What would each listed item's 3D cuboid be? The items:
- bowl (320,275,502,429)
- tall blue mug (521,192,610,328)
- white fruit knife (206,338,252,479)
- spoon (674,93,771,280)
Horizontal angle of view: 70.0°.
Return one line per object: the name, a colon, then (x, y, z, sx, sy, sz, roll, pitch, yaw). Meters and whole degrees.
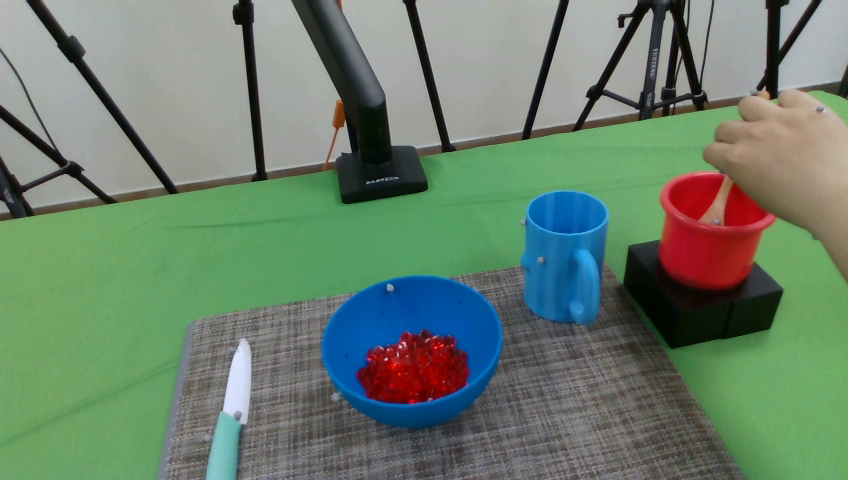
bowl: (-0.008, 0.108, 0.520, 0.151, 0.077, 0.150, -3, 37, 3)
tall blue mug: (0.147, 0.025, 0.587, 0.078, 0.109, 0.106, -26, 41, -27)
white fruit knife: (-0.167, 0.158, 0.528, 0.027, 0.016, 0.205, 17, 30, -20)
spoon: (0.285, -0.051, 0.566, 0.041, 0.022, 0.193, 23, 89, 35)
